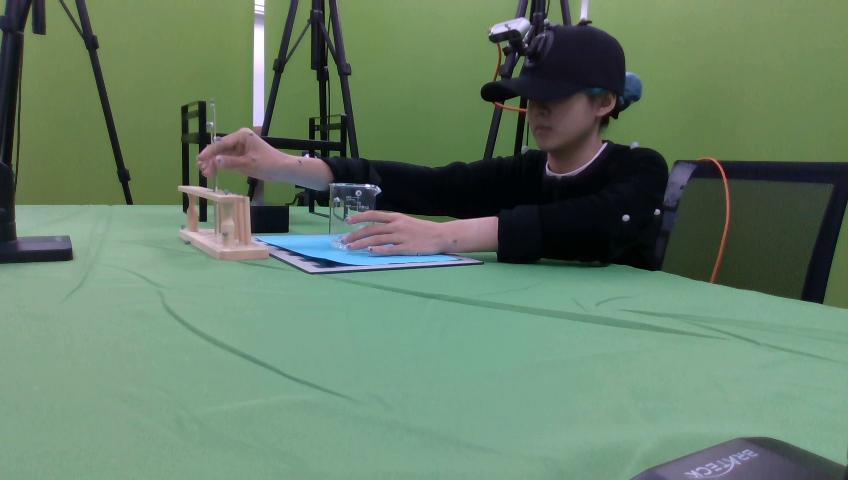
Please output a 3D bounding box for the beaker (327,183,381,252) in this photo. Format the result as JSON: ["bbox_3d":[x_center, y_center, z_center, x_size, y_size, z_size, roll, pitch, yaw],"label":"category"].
[{"bbox_3d":[-0.108,-0.035,0.921,0.084,0.100,0.074,6,8,14],"label":"beaker"}]

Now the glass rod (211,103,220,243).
[{"bbox_3d":[-0.292,-0.091,0.848,0.008,0.199,0.008,-1,4,0],"label":"glass rod"}]

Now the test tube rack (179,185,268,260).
[{"bbox_3d":[-0.303,-0.031,0.898,0.067,0.085,0.241,-2,9,-33],"label":"test tube rack"}]
